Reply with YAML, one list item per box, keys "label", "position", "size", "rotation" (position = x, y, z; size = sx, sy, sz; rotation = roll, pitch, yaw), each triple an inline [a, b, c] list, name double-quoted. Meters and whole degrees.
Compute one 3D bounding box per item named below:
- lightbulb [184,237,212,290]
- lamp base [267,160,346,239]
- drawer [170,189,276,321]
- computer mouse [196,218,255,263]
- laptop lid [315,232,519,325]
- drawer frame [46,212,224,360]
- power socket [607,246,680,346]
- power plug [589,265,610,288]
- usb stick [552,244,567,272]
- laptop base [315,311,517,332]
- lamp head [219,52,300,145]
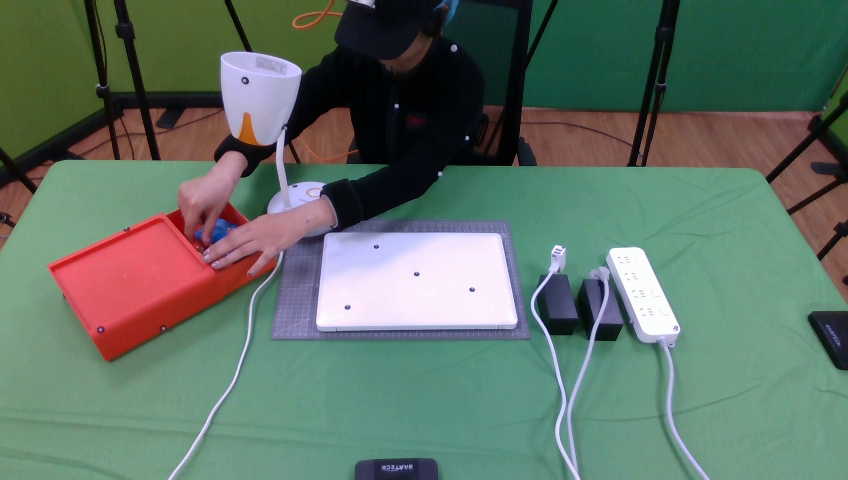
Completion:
- label: "lightbulb"
  position: [-0.411, 0.042, 1.100]
  size: [0.059, 0.060, 0.107]
  rotation: [7, 60, 2]
- label: "lamp base"
  position: [-0.241, -0.111, 1.175]
  size: [0.160, 0.181, 0.178]
  rotation: [11, 49, 10]
- label: "drawer"
  position: [-0.414, 0.023, 1.109]
  size: [0.212, 0.073, 0.193]
  rotation: [-34, 58, -29]
- label: "computer mouse"
  position: [-0.380, -0.005, 1.155]
  size: [0.116, 0.041, 0.062]
  rotation: [29, 55, 28]
- label: "laptop lid"
  position: [-0.015, 0.065, 1.118]
  size: [0.357, 0.013, 0.240]
  rotation: [1, 43, -3]
- label: "drawer frame"
  position: [-0.495, 0.071, 1.050]
  size: [0.213, 0.083, 0.200]
  rotation: [-32, 56, -30]
- label: "power socket"
  position: [0.403, 0.096, 1.123]
  size: [0.072, 0.033, 0.225]
  rotation: [-2, 46, -5]
- label: "power plug"
  position: [0.318, 0.073, 1.108]
  size: [0.035, 0.053, 0.072]
  rotation: [26, 34, 13]
- label: "usb stick"
  position: [0.251, 0.039, 1.123]
  size: [0.021, 0.059, 0.027]
  rotation: [14, 47, 24]
- label: "laptop base"
  position: [-0.016, 0.075, 1.125]
  size: [0.355, 0.023, 0.234]
  rotation: [0, 42, -4]
- label: "lamp head"
  position: [-0.244, -0.204, 0.889]
  size: [0.112, 0.123, 0.112]
  rotation: [11, 33, -7]
